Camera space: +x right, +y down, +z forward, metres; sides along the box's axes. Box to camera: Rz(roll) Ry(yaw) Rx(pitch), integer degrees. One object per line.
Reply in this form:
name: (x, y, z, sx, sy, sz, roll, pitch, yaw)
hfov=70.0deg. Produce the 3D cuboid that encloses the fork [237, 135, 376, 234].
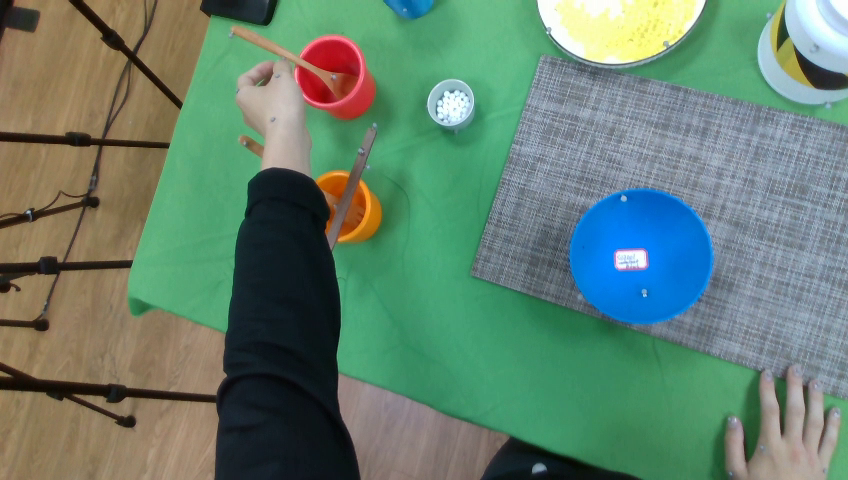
fork: (-0.145, -0.069, 0.765, 0.209, 0.018, 0.028, 35, 96, -30)

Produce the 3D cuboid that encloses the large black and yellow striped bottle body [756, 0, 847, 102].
large black and yellow striped bottle body: (0.442, -0.233, 0.631, 0.130, 0.185, 0.130, -1, 84, 13)

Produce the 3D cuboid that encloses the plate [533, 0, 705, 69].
plate: (0.241, -0.312, 0.759, 0.208, 0.038, 0.208, -1, 85, 12)

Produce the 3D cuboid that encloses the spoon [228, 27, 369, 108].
spoon: (-0.158, -0.227, 0.786, 0.195, 0.021, 0.041, 23, 93, -30)

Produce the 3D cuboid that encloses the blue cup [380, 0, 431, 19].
blue cup: (-0.030, -0.339, 0.789, 0.092, 0.100, 0.092, -1, 84, 15)

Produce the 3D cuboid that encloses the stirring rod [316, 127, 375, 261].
stirring rod: (-0.097, -0.057, 0.751, 0.014, 0.006, 0.176, 21, 90, 12)

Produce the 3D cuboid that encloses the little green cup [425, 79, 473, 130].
little green cup: (0.036, -0.174, 0.791, 0.061, 0.039, 0.061, -1, 84, 14)

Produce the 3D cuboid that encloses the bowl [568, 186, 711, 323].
bowl: (0.244, 0.020, 0.702, 0.151, 0.077, 0.151, -1, 85, 13)

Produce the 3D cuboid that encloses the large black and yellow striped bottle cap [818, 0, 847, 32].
large black and yellow striped bottle cap: (0.423, -0.241, 0.550, 0.115, 0.019, 0.114, -2, 84, 14)
